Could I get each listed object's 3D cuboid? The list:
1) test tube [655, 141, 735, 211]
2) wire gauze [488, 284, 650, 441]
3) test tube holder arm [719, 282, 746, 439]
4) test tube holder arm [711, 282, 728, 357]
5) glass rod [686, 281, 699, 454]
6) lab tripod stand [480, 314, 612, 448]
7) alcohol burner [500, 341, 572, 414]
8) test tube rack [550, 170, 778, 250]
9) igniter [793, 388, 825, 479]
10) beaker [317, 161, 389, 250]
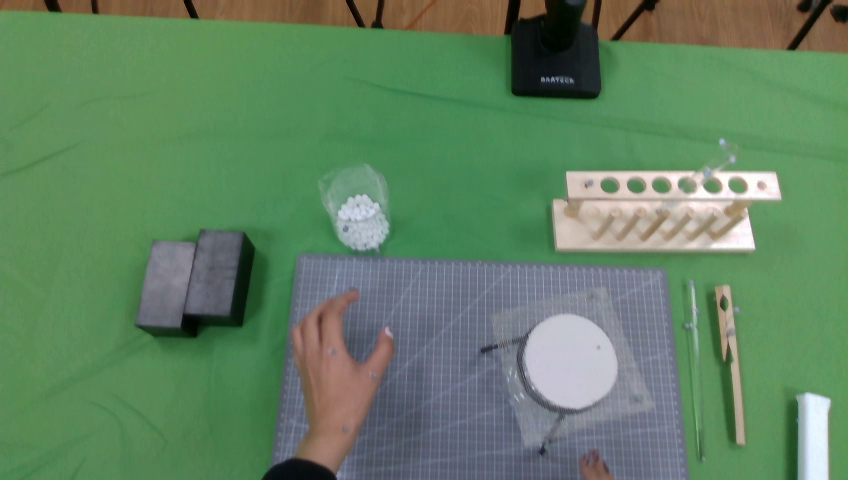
[{"bbox_3d":[0.302,-0.067,0.684,0.017,0.151,0.017,3,68,-6],"label":"test tube"},{"bbox_3d":[0.132,0.110,0.565,0.121,0.011,0.124,-13,69,-5],"label":"wire gauze"},{"bbox_3d":[0.353,0.135,0.694,0.013,0.015,0.177,-12,65,31],"label":"test tube holder arm"},{"bbox_3d":[0.349,0.094,0.713,0.010,0.015,0.087,-11,66,31],"label":"test tube holder arm"},{"bbox_3d":[0.309,0.143,0.698,0.008,0.008,0.198,5,72,1],"label":"glass rod"},{"bbox_3d":[0.126,0.135,0.627,0.148,0.132,0.147,0,69,1],"label":"lab tripod stand"},{"bbox_3d":[0.121,0.141,0.635,0.078,0.120,0.077,0,67,0],"label":"alcohol burner"},{"bbox_3d":[0.282,-0.034,0.724,0.242,0.086,0.066,0,68,-1],"label":"test tube rack"},{"bbox_3d":[0.401,0.294,0.632,0.057,0.025,0.275,16,69,-5],"label":"igniter"},{"bbox_3d":[-0.081,-0.037,0.710,0.084,0.101,0.073,19,69,7],"label":"beaker"}]
